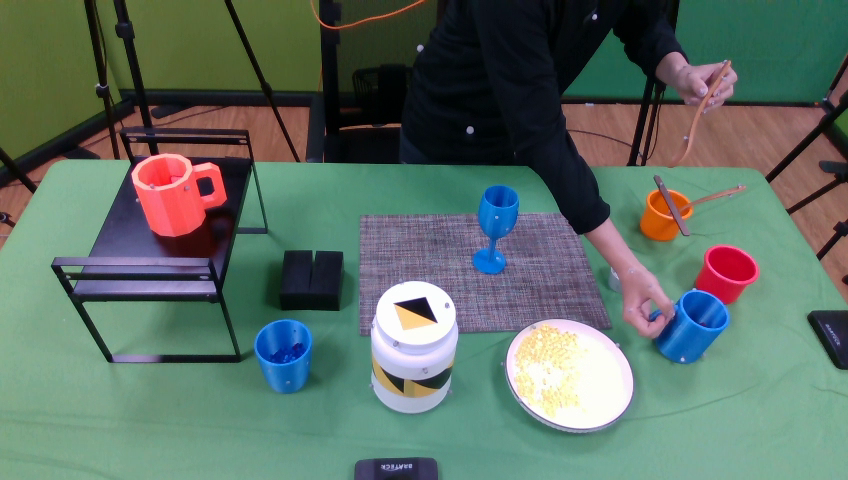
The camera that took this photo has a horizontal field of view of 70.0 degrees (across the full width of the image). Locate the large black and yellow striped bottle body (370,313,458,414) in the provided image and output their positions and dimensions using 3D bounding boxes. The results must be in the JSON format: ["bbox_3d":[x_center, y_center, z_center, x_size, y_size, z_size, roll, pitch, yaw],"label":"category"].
[{"bbox_3d":[-0.017,0.165,0.924,0.131,0.185,0.130,2,46,-2],"label":"large black and yellow striped bottle body"}]

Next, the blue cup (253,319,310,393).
[{"bbox_3d":[-0.217,0.187,0.943,0.093,0.101,0.092,4,45,-3],"label":"blue cup"}]

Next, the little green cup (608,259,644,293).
[{"bbox_3d":[0.379,0.070,1.147,0.061,0.039,0.061,3,45,-2],"label":"little green cup"}]

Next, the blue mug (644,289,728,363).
[{"bbox_3d":[0.434,0.143,1.028,0.116,0.106,0.082,10,48,1],"label":"blue mug"}]

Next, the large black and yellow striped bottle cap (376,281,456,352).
[{"bbox_3d":[-0.011,0.107,0.863,0.115,0.019,0.114,2,47,-2],"label":"large black and yellow striped bottle cap"}]

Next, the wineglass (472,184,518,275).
[{"bbox_3d":[0.129,-0.018,1.113,0.074,0.173,0.073,2,46,-2],"label":"wineglass"}]

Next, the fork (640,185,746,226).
[{"bbox_3d":[0.534,-0.069,1.215,0.207,0.019,0.028,-26,27,33],"label":"fork"}]

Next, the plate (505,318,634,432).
[{"bbox_3d":[0.235,0.221,0.991,0.209,0.038,0.208,2,45,-2],"label":"plate"}]

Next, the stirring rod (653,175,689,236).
[{"bbox_3d":[0.491,-0.072,1.211,0.014,0.006,0.175,0,47,-6],"label":"stirring rod"}]

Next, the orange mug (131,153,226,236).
[{"bbox_3d":[-0.375,-0.075,0.937,0.126,0.101,0.083,-20,50,-16],"label":"orange mug"}]

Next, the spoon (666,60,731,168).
[{"bbox_3d":[0.459,-0.209,1.014,0.021,0.194,0.041,20,19,1],"label":"spoon"}]
